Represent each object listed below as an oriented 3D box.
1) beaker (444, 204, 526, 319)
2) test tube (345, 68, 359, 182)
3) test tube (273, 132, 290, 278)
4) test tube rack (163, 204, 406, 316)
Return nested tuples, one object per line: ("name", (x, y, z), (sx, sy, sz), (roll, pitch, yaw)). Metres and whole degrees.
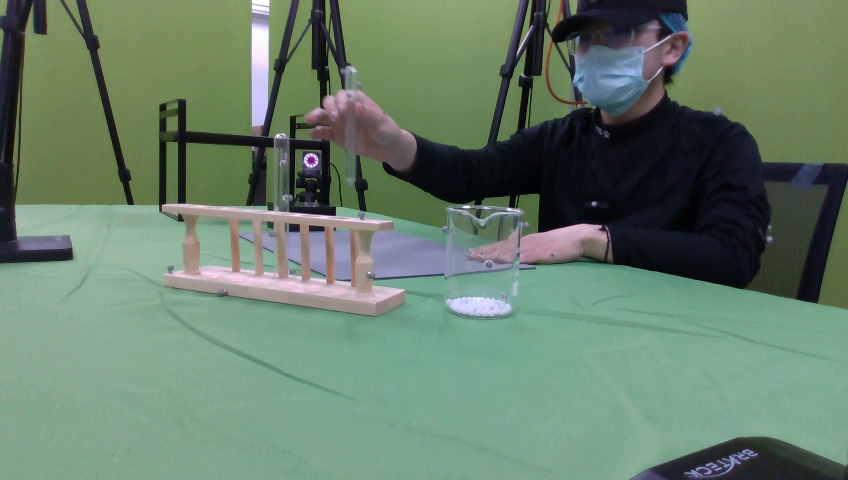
("beaker", (0.055, 0.019, 0.563), (0.074, 0.100, 0.084), (3, 8, 8))
("test tube", (-0.095, -0.151, 0.798), (0.017, 0.150, 0.017), (1, 1, 0))
("test tube", (-0.146, -0.034, 0.617), (0.017, 0.150, 0.017), (2, 8, 0))
("test tube rack", (-0.141, 0.013, 0.601), (0.241, 0.085, 0.067), (5, 8, 21))
